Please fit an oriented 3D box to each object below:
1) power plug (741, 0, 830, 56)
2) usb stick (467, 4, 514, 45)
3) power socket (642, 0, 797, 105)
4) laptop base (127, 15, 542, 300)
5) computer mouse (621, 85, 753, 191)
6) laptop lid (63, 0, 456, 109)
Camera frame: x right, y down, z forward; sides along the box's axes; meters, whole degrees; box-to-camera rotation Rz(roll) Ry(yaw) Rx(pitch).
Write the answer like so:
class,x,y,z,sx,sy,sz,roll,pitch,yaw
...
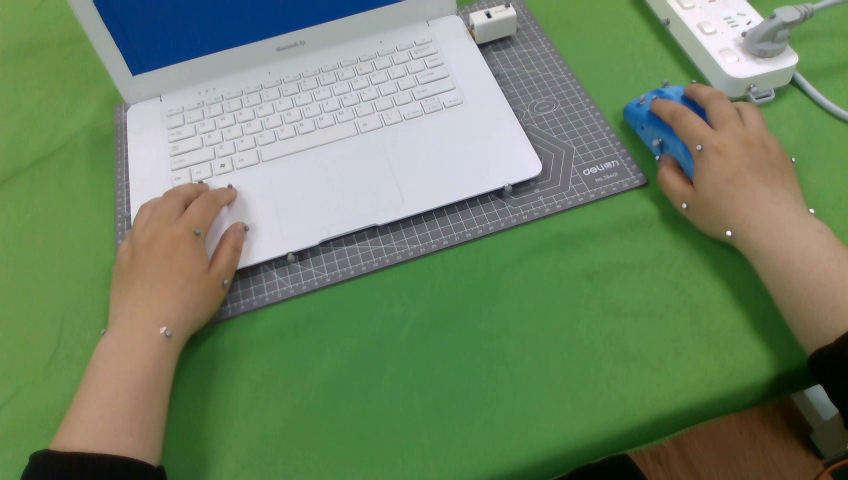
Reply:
class,x,y,z,sx,sy,sz,roll,pitch,yaw
power plug,0.323,-0.182,0.541,0.072,0.053,0.035,-6,58,3
usb stick,0.061,-0.217,0.617,0.059,0.027,0.021,-18,56,-1
power socket,0.278,-0.221,0.599,0.072,0.033,0.224,-15,55,-2
laptop base,-0.096,-0.091,0.567,0.354,0.023,0.233,-18,59,-5
computer mouse,0.222,-0.094,0.517,0.063,0.041,0.116,-21,51,-4
laptop lid,-0.152,-0.266,0.552,0.357,0.244,0.013,-19,43,-4
